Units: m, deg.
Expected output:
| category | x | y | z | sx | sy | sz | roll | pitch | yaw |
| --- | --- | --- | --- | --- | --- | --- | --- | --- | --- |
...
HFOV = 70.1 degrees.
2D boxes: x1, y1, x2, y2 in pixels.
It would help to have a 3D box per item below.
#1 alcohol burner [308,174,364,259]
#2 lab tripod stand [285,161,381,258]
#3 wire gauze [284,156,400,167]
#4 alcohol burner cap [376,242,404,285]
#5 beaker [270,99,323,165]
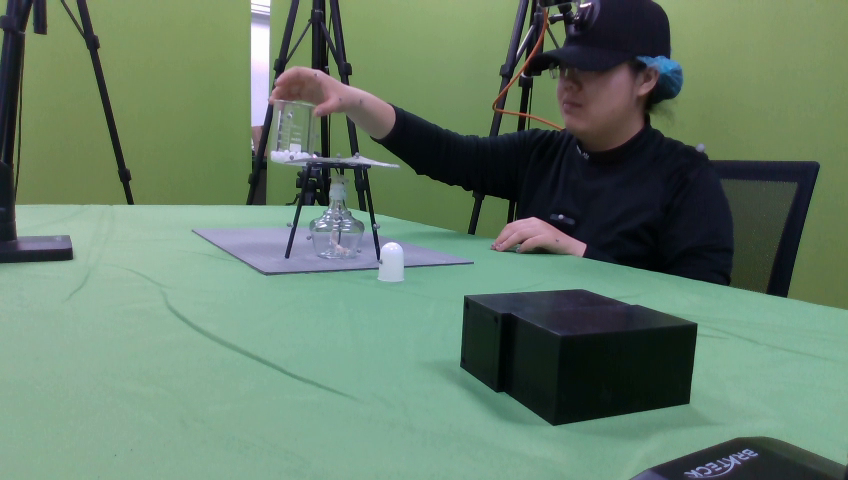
| category | x | y | z | sx | sy | sz | roll | pitch | yaw |
| --- | --- | --- | --- | --- | --- | --- | --- | --- | --- |
| alcohol burner | -0.121 | -0.033 | 0.843 | 0.078 | 0.119 | 0.078 | 3 | 5 | 0 |
| lab tripod stand | -0.123 | -0.043 | 0.842 | 0.148 | 0.131 | 0.148 | 3 | 9 | 0 |
| wire gauze | -0.115 | -0.109 | 0.835 | 0.126 | 0.011 | 0.121 | -3 | 10 | -30 |
| alcohol burner cap | -0.039 | 0.026 | 0.710 | 0.034 | 0.048 | 0.034 | 3 | 6 | 0 |
| beaker | -0.212 | -0.175 | 0.996 | 0.084 | 0.100 | 0.073 | 5 | 9 | -17 |
